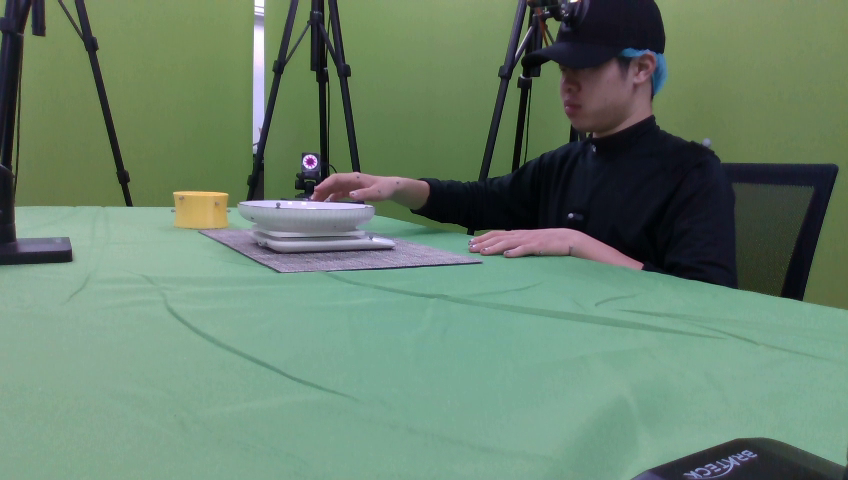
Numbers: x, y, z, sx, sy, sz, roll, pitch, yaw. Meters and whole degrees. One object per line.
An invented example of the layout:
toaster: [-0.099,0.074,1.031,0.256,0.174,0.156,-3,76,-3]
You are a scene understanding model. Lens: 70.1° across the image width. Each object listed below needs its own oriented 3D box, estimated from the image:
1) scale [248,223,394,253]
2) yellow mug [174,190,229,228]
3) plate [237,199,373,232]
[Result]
scale: [-0.162,-0.006,0.954,0.202,0.031,0.148,-2,8,-32]
yellow mug: [-0.427,-0.063,1.189,0.100,0.064,0.131,5,7,14]
plate: [-0.183,-0.039,0.941,0.209,0.038,0.209,3,7,0]
